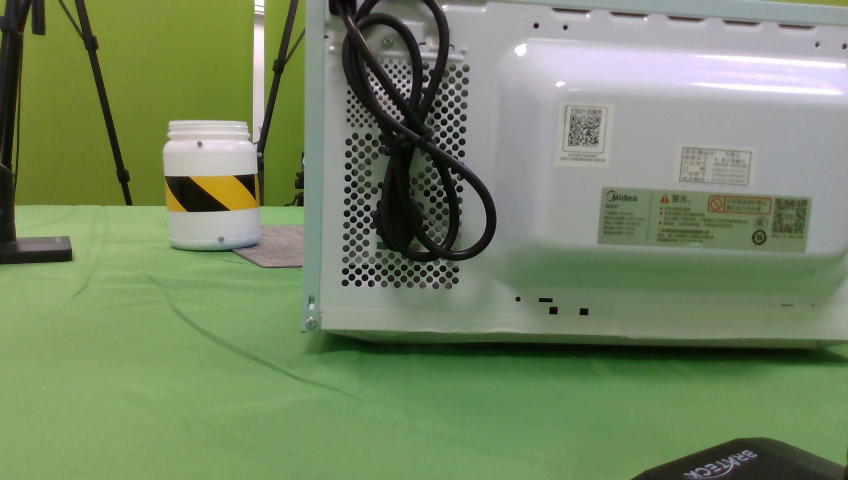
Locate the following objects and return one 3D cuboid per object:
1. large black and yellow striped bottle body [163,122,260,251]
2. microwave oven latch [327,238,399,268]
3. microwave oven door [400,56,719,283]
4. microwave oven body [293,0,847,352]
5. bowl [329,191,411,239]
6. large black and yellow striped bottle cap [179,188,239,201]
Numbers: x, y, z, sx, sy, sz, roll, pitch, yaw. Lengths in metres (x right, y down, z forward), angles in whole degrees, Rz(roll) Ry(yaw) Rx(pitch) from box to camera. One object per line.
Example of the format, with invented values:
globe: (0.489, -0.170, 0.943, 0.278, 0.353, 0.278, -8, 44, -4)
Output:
large black and yellow striped bottle body: (-0.317, -0.083, 0.907, 0.131, 0.184, 0.130, 0, 9, 0)
microwave oven latch: (-0.069, 0.015, 0.694, 0.079, 0.029, 0.030, 3, 7, -3)
microwave oven door: (0.155, -0.078, 0.698, 0.356, 0.243, 0.039, 2, 8, -5)
microwave oven body: (0.122, -0.055, 0.550, 0.442, 0.260, 0.325, 3, 7, -5)
bowl: (-0.099, -0.046, 1.104, 0.151, 0.077, 0.151, 3, 8, 0)
large black and yellow striped bottle cap: (-0.434, -0.093, 1.226, 0.115, 0.019, 0.115, 3, 9, 0)
